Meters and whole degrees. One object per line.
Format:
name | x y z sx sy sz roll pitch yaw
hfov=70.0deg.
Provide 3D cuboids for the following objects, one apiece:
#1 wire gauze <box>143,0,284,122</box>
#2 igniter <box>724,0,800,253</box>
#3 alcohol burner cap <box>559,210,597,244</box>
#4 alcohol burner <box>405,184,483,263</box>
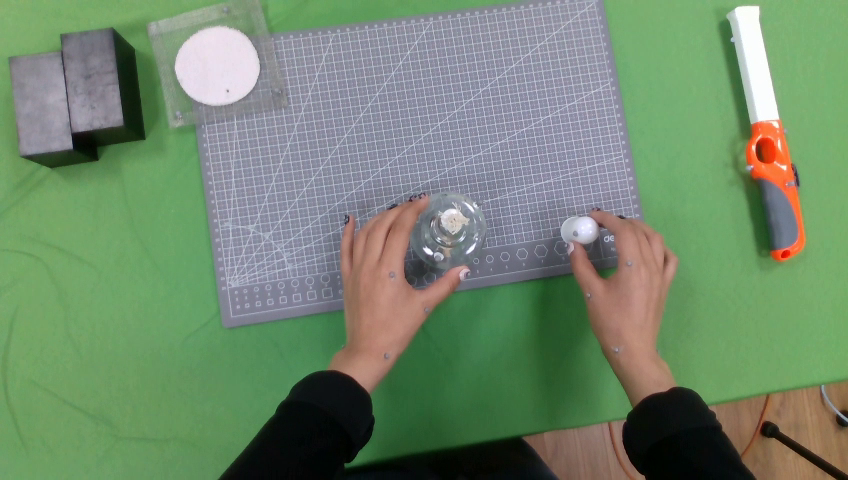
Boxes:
wire gauze | -0.221 -0.192 0.631 0.125 0.011 0.121 -14 86 -3
igniter | 0.363 -0.124 0.651 0.057 0.025 0.276 -7 86 -14
alcohol burner cap | 0.157 -0.014 0.610 0.034 0.048 0.034 0 84 0
alcohol burner | 0.021 -0.018 0.580 0.078 0.119 0.077 0 83 -4
